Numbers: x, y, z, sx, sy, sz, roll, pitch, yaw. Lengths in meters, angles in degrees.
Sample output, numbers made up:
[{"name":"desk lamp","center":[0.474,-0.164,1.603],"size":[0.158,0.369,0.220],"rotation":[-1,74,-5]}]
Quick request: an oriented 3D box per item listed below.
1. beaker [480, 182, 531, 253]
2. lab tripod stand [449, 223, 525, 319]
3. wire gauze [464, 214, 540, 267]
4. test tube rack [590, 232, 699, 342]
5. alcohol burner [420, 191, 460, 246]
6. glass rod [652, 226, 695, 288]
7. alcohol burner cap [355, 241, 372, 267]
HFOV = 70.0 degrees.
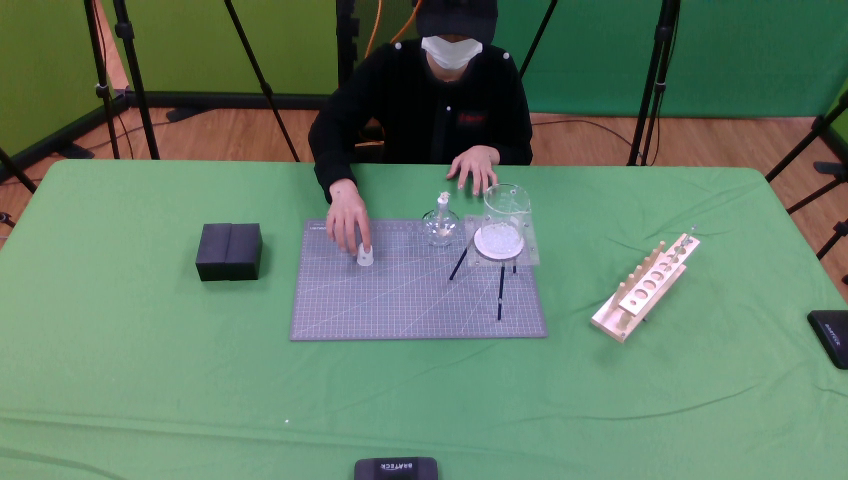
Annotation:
[{"name":"beaker","center":[0.133,-0.033,0.998],"size":[0.083,0.101,0.074],"rotation":[26,51,22]},{"name":"lab tripod stand","center":[0.120,0.046,1.080],"size":[0.148,0.132,0.147],"rotation":[1,47,-1]},{"name":"wire gauze","center":[0.131,-0.001,1.035],"size":[0.121,0.011,0.124],"rotation":[1,44,-3]},{"name":"test tube rack","center":[0.407,0.074,1.112],"size":[0.066,0.085,0.242],"rotation":[35,53,26]},{"name":"alcohol burner","center":[0.032,-0.046,1.176],"size":[0.078,0.120,0.077],"rotation":[2,44,-1]},{"name":"glass rod","center":[0.432,0.037,1.057],"size":[0.008,0.200,0.008],"rotation":[1,54,-1]},{"name":"alcohol burner cap","center":[-0.115,0.024,1.147],"size":[0.034,0.048,0.033],"rotation":[3,47,-3]}]
